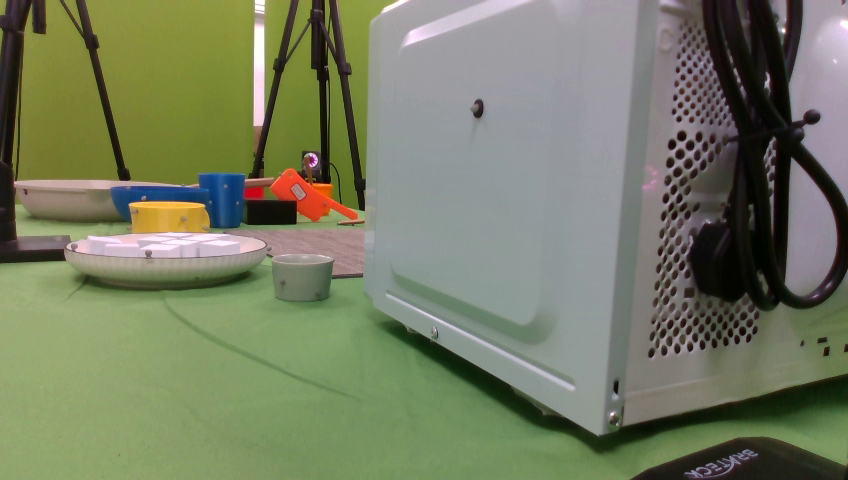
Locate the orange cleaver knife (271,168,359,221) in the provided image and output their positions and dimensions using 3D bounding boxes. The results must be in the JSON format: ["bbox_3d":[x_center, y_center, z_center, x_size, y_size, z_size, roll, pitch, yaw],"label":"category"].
[{"bbox_3d":[-0.236,-0.084,1.333,0.212,0.077,0.012,31,-10,-32],"label":"orange cleaver knife"}]

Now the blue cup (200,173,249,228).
[{"bbox_3d":[-0.381,-0.076,1.155,0.093,0.100,0.092,0,8,0],"label":"blue cup"}]

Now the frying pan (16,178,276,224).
[{"bbox_3d":[-0.553,-0.096,1.266,0.490,0.102,0.305,-10,13,-24],"label":"frying pan"}]

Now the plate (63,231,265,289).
[{"bbox_3d":[-0.288,0.021,0.687,0.208,0.039,0.207,2,8,0],"label":"plate"}]

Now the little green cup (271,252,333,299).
[{"bbox_3d":[-0.122,0.035,0.605,0.061,0.038,0.061,3,6,0],"label":"little green cup"}]

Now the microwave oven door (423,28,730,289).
[{"bbox_3d":[0.173,-0.078,0.635,0.357,0.243,0.039,-1,8,-22],"label":"microwave oven door"}]

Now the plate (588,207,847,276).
[{"bbox_3d":[0.245,-0.001,0.511,0.209,0.038,0.209,2,7,0],"label":"plate"}]

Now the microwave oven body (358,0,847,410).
[{"bbox_3d":[0.210,-0.051,0.471,0.444,0.260,0.324,-1,7,-28],"label":"microwave oven body"}]

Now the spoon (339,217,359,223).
[{"bbox_3d":[-0.087,-0.041,1.268,0.193,0.021,0.041,4,24,13],"label":"spoon"}]

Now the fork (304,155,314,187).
[{"bbox_3d":[-0.268,-0.134,1.447,0.028,0.018,0.207,1,-36,-1],"label":"fork"}]

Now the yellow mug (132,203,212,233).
[{"bbox_3d":[-0.356,-0.020,0.878,0.099,0.064,0.131,4,7,22],"label":"yellow mug"}]

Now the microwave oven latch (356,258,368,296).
[{"bbox_3d":[-0.019,0.031,0.528,0.079,0.029,0.030,-1,7,-24],"label":"microwave oven latch"}]

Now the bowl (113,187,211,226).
[{"bbox_3d":[-0.436,-0.046,1.013,0.151,0.077,0.151,2,7,0],"label":"bowl"}]

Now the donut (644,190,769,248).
[{"bbox_3d":[0.239,-0.017,0.517,0.099,0.048,0.099,2,3,0],"label":"donut"}]
